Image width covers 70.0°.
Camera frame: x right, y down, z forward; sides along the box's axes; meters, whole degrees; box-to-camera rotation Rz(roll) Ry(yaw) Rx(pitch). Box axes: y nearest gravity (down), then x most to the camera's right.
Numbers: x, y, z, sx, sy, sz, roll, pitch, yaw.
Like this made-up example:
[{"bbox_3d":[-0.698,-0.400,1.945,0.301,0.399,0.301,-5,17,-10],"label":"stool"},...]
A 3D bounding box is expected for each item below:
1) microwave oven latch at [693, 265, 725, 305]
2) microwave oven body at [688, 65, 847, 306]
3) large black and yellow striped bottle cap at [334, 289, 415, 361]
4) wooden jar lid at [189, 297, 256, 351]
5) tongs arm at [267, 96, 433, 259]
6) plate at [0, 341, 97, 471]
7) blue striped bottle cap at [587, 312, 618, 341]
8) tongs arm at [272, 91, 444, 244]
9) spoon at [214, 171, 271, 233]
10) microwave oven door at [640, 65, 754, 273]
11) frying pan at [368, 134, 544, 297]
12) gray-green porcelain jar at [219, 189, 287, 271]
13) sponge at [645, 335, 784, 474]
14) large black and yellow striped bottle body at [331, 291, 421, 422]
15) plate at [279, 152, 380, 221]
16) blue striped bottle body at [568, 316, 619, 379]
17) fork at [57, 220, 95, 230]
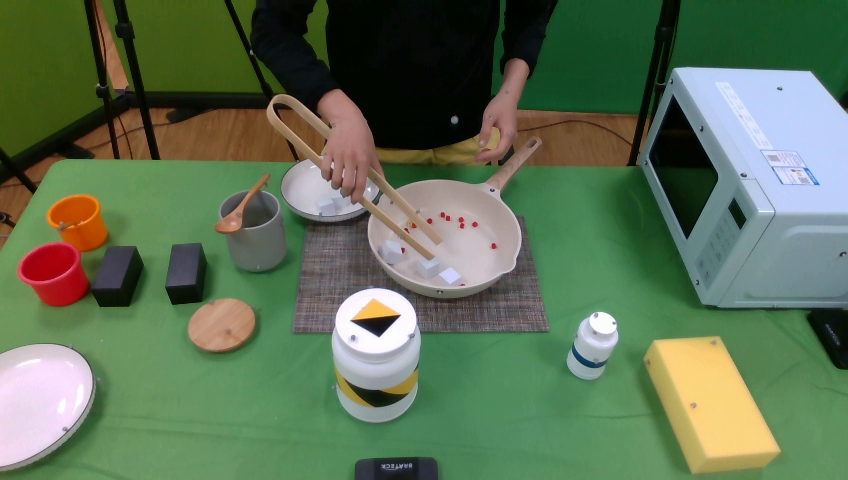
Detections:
[{"bbox_3d":[0.523,0.081,1.116,0.030,0.029,0.078,2,46,-1],"label":"microwave oven latch"},{"bbox_3d":[0.669,-0.111,1.176,0.326,0.261,0.439,0,46,-3],"label":"microwave oven body"},{"bbox_3d":[-0.069,0.117,0.850,0.115,0.019,0.114,2,45,-2],"label":"large black and yellow striped bottle cap"},{"bbox_3d":[-0.342,0.145,1.033,0.108,0.021,0.107,2,45,-2],"label":"wooden jar lid"},{"bbox_3d":[-0.128,-0.100,1.053,0.388,0.028,0.028,43,59,-10],"label":"tongs arm"},{"bbox_3d":[-0.599,0.247,0.904,0.209,0.038,0.208,2,47,-2],"label":"plate"},{"bbox_3d":[0.279,0.134,0.947,0.044,0.021,0.044,2,45,-2],"label":"blue striped bottle cap"},{"bbox_3d":[-0.114,-0.119,1.070,0.385,0.026,0.050,45,55,-8],"label":"tongs arm"},{"bbox_3d":[-0.312,-0.070,1.070,0.041,0.022,0.193,11,43,9],"label":"spoon"},{"bbox_3d":[0.523,-0.147,1.193,0.039,0.245,0.353,0,47,-3],"label":"microwave oven door"},{"bbox_3d":[0.104,-0.069,1.205,0.305,0.103,0.487,32,61,23],"label":"frying pan"},{"bbox_3d":[-0.310,-0.014,1.114,0.106,0.127,0.105,2,46,-2],"label":"gray-green porcelain jar"},{"bbox_3d":[0.449,0.253,0.956,0.118,0.061,0.205,-4,46,-7],"label":"sponge"},{"bbox_3d":[-0.071,0.175,0.911,0.131,0.185,0.130,2,47,-2],"label":"large black and yellow striped bottle body"},{"bbox_3d":[-0.196,-0.107,1.269,0.208,0.039,0.206,2,45,-2],"label":"plate"},{"bbox_3d":[0.276,0.168,0.984,0.063,0.121,0.062,2,46,-2],"label":"blue striped bottle body"},{"bbox_3d":[-0.624,-0.027,1.086,0.028,0.207,0.018,-2,91,-17],"label":"fork"}]
